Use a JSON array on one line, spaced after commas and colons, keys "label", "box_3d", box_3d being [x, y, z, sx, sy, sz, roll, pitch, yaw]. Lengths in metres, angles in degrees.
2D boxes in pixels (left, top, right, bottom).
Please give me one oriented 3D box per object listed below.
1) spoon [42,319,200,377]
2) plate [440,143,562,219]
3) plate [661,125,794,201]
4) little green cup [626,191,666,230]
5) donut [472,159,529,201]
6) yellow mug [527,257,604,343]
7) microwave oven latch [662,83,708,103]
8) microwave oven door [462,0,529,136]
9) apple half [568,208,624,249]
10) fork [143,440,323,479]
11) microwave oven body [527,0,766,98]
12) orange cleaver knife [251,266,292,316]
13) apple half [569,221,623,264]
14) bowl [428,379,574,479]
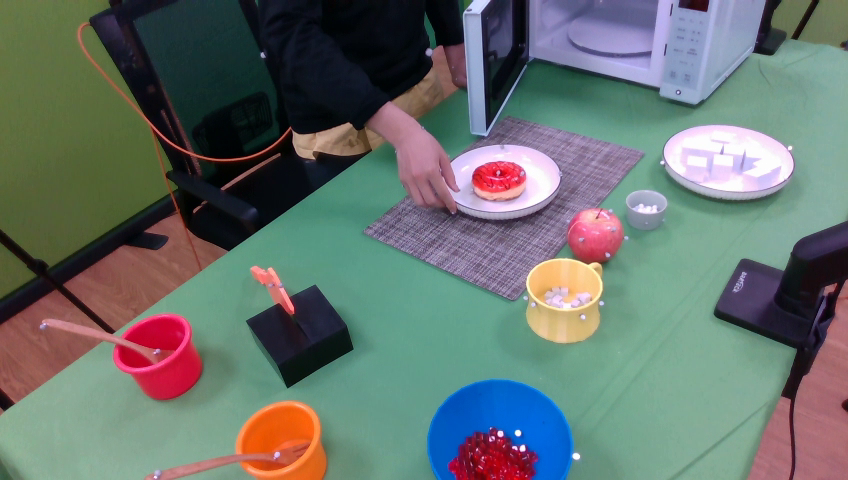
[{"label": "spoon", "box_3d": [-0.385, 0.135, 0.779, 0.195, 0.021, 0.041, 29, 37, -26]}, {"label": "plate", "box_3d": [0.134, -0.098, 1.052, 0.209, 0.038, 0.208, -4, 40, 4]}, {"label": "plate", "box_3d": [0.513, -0.128, 1.035, 0.207, 0.039, 0.206, -4, 40, 4]}, {"label": "little green cup", "box_3d": [0.352, -0.046, 0.963, 0.061, 0.039, 0.061, -4, 40, 4]}, {"label": "donut", "box_3d": [0.132, -0.105, 1.044, 0.099, 0.048, 0.098, -5, 39, 5]}, {"label": "yellow mug", "box_3d": [0.201, 0.072, 0.825, 0.131, 0.064, 0.099, -32, 46, -27]}, {"label": "microwave oven latch", "box_3d": [0.517, -0.296, 1.204, 0.078, 0.029, 0.030, 27, 52, 35]}, {"label": "microwave oven door", "box_3d": [0.156, -0.410, 1.236, 0.039, 0.245, 0.355, 10, 43, 19]}, {"label": "apple half", "box_3d": [0.259, -0.014, 0.914, 0.080, 0.075, 0.053, 0, 36, 15]}, {"label": "fork", "box_3d": [-0.190, 0.231, 0.631, 0.028, 0.018, 0.209, 38, 14, 37]}, {"label": "microwave oven body", "box_3d": [0.472, -0.513, 1.317, 0.438, 0.261, 0.327, 25, 51, 34]}, {"label": "orange cleaver knife", "box_3d": [-0.221, 0.071, 0.873, 0.012, 0.077, 0.210, -25, 11, -21]}, {"label": "apple half", "box_3d": [0.251, 0.010, 0.884, 0.081, 0.081, 0.032, 3, 37, 12]}, {"label": "bowl", "box_3d": [0.082, 0.233, 0.644, 0.151, 0.077, 0.150, -4, 40, 4]}]
